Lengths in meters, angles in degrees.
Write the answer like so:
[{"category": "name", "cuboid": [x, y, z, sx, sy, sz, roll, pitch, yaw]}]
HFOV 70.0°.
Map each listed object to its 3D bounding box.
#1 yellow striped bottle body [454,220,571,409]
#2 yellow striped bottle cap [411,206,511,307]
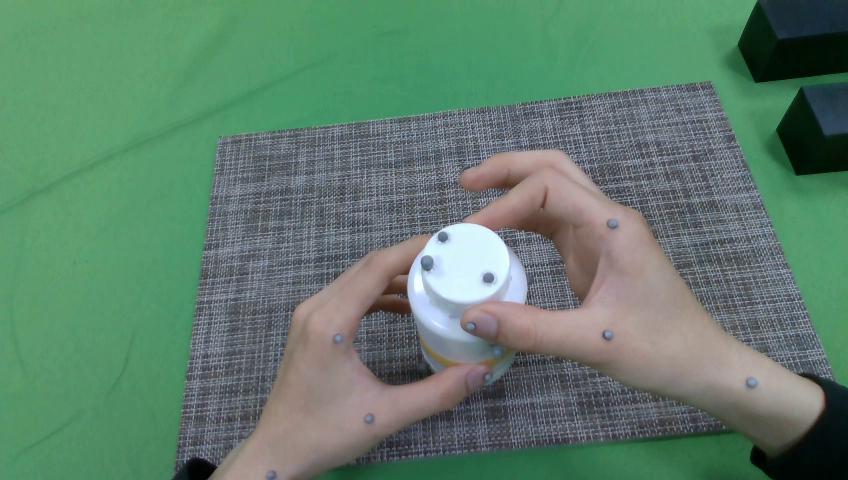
[{"category": "yellow striped bottle body", "cuboid": [0.048, 0.043, 0.345, 0.063, 0.121, 0.062, -2, 50, 3]}, {"category": "yellow striped bottle cap", "cuboid": [0.016, 0.008, 0.274, 0.044, 0.019, 0.044, 1, 69, -2]}]
